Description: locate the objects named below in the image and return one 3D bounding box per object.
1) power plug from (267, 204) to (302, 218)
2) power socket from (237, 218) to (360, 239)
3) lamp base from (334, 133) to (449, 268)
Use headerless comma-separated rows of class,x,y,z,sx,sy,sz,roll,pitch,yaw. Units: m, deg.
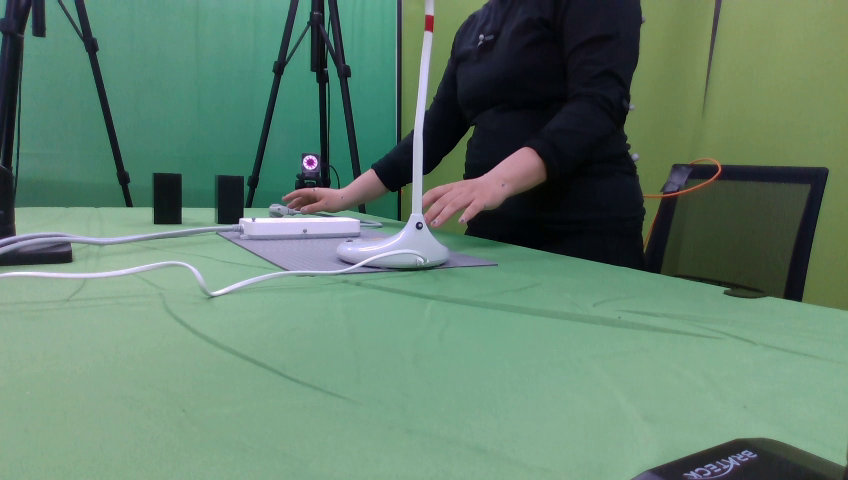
power plug,-0.327,-0.060,1.404,0.073,0.035,0.052,21,-13,-26
power socket,-0.221,-0.023,1.080,0.228,0.032,0.072,-2,7,-33
lamp base,-0.034,-0.057,0.831,0.161,0.180,0.178,-3,12,-36
